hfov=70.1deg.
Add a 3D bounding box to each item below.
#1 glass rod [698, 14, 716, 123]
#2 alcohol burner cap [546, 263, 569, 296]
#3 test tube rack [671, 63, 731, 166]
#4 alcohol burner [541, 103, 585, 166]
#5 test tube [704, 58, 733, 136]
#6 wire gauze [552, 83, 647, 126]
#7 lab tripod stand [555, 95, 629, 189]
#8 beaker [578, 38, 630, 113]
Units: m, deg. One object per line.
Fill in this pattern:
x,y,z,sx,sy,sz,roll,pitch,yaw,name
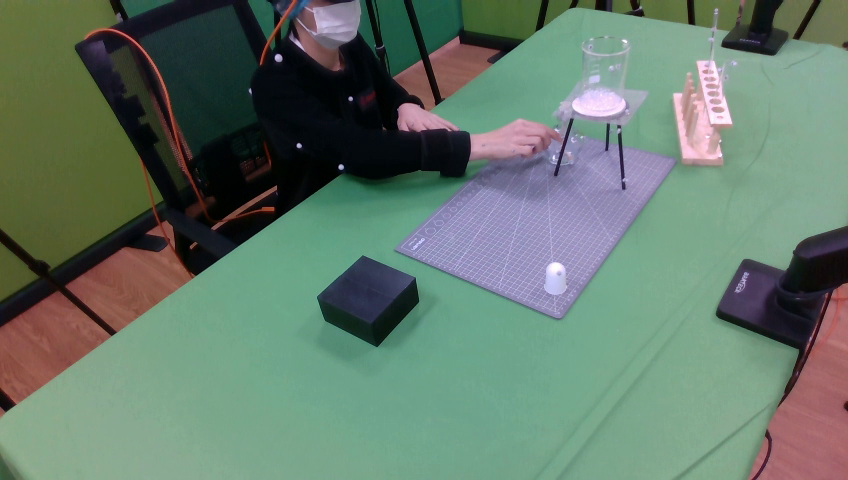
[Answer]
0.531,-0.320,1.136,0.008,0.200,0.008,3,12,0,glass rod
0.191,0.053,0.862,0.034,0.048,0.033,-5,40,5,alcohol burner cap
0.513,-0.241,1.132,0.066,0.085,0.242,4,41,14,test tube rack
0.253,-0.195,1.093,0.078,0.119,0.077,-3,40,3,alcohol burner
0.516,-0.247,1.062,0.017,0.151,0.017,-3,43,4,test tube
0.293,-0.224,1.004,0.120,0.011,0.125,19,43,26,wire gauze
0.301,-0.174,1.045,0.148,0.132,0.147,-6,38,5,lab tripod stand
0.290,-0.265,0.976,0.084,0.101,0.073,-18,41,-14,beaker
